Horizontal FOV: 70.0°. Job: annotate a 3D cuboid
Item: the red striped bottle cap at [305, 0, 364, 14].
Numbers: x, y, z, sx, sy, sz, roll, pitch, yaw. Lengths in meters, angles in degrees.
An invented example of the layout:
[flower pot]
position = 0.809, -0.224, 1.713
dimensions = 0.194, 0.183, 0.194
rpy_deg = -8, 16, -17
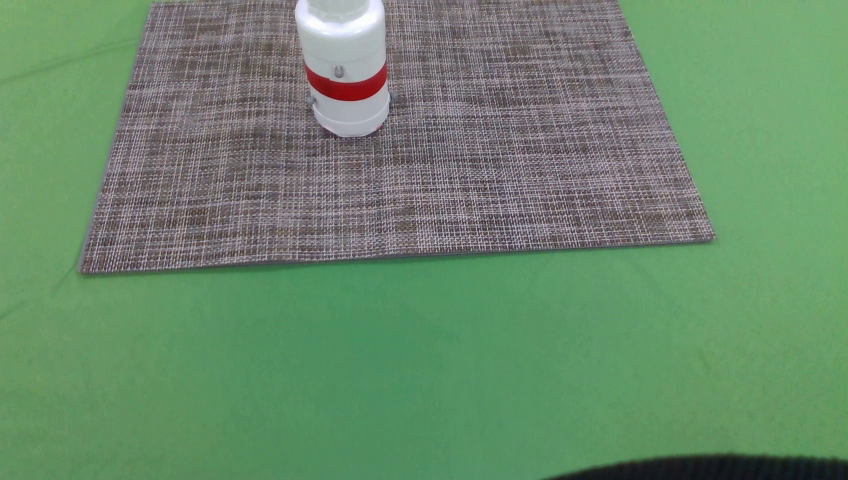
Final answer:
[red striped bottle cap]
position = -0.061, -0.173, 0.408
dimensions = 0.044, 0.018, 0.044
rpy_deg = 2, 60, -3

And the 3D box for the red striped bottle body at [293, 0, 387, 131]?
[red striped bottle body]
position = -0.061, -0.144, 0.452
dimensions = 0.063, 0.120, 0.062
rpy_deg = 1, 57, -1
